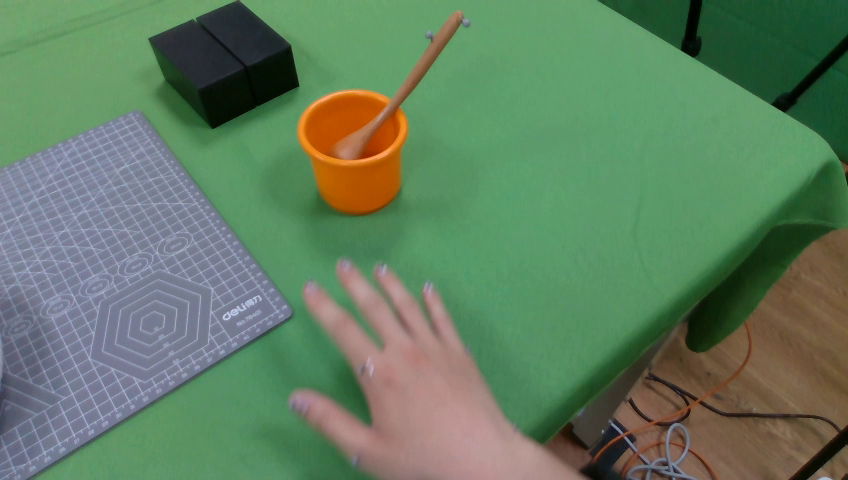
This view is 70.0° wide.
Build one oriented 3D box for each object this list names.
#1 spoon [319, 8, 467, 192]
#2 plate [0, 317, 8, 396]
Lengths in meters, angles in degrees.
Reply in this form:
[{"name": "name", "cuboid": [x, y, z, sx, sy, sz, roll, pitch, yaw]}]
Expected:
[{"name": "spoon", "cuboid": [-0.030, -0.116, 0.511, 0.194, 0.022, 0.041, -46, 58, 17]}, {"name": "plate", "cuboid": [-0.390, 0.111, 0.409, 0.209, 0.038, 0.207, 1, 54, -1]}]
